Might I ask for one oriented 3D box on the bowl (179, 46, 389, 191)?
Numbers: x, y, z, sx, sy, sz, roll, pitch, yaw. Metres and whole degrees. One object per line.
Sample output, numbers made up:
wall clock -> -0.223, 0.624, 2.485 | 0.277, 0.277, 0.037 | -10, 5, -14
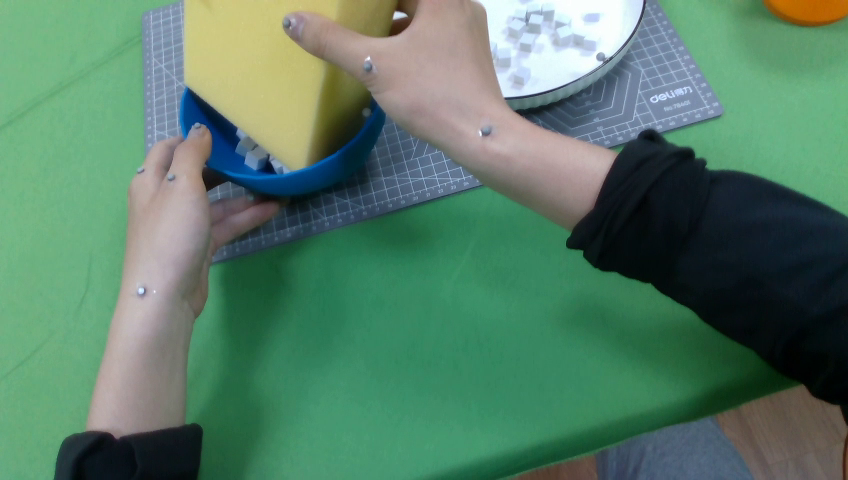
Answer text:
bowl -> -0.094, -0.092, 0.456 | 0.151, 0.077, 0.150 | -3, 64, 7

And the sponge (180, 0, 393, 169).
sponge -> -0.083, -0.155, 0.365 | 0.118, 0.208, 0.061 | 37, 48, 12

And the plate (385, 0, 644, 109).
plate -> 0.071, -0.189, 0.500 | 0.209, 0.038, 0.207 | -3, 64, 7
